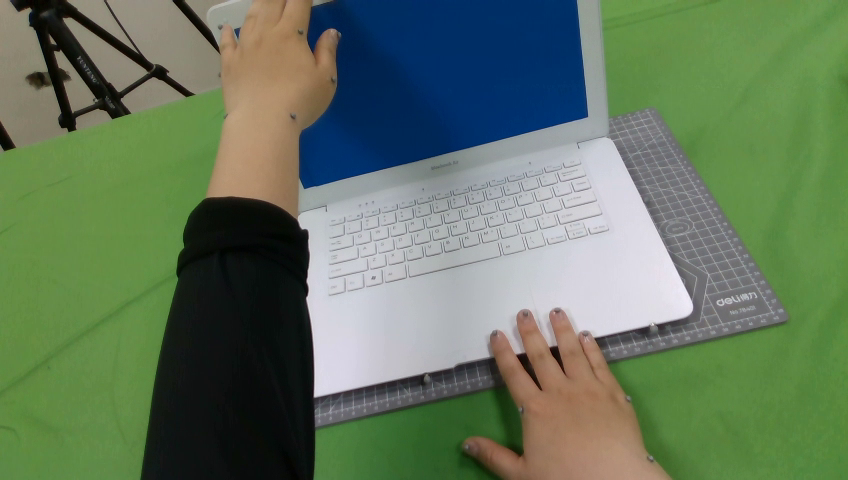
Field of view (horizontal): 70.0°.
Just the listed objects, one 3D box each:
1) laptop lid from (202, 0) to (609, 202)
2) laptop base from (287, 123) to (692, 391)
[{"bbox_3d":[-0.003,-0.169,0.592,0.356,0.244,0.013,-15,37,7],"label":"laptop lid"},{"bbox_3d":[0.039,0.008,0.586,0.354,0.023,0.233,-14,51,6],"label":"laptop base"}]
